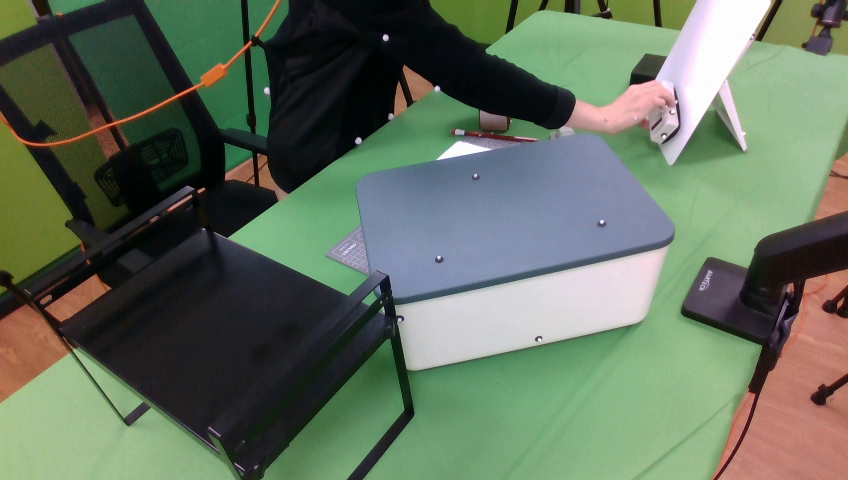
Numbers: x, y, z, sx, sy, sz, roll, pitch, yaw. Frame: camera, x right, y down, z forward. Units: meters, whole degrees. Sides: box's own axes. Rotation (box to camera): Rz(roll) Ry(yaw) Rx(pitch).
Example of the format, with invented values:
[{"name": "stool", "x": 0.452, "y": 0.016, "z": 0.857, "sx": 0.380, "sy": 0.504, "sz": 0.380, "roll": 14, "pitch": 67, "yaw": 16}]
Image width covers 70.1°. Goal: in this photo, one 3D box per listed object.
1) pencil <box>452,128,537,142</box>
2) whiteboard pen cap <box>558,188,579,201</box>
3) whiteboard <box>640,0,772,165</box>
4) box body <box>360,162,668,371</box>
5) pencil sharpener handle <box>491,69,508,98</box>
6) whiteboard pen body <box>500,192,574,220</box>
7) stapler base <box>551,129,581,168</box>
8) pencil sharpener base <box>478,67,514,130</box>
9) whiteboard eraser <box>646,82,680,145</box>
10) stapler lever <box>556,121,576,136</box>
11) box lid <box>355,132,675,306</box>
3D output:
[{"name": "pencil", "x": 0.146, "y": -0.207, "z": 1.205, "sx": 0.193, "sy": 0.012, "sz": 0.012, "roll": 11, "pitch": 44, "yaw": 20}, {"name": "whiteboard pen cap", "x": 0.245, "y": -0.076, "z": 1.028, "sx": 0.033, "sy": 0.018, "sz": 0.018, "roll": -19, "pitch": 42, "yaw": -15}, {"name": "whiteboard", "x": 0.543, "y": -0.298, "z": 1.076, "sx": 0.144, "sy": 0.305, "sz": 0.216, "roll": 12, "pitch": 40, "yaw": -7}, {"name": "box body", "x": 0.109, "y": 0.014, "z": 0.833, "sx": 0.365, "sy": 0.161, "sz": 0.252, "roll": -11, "pitch": 41, "yaw": -5}, {"name": "pencil sharpener handle", "x": 0.156, "y": -0.330, "z": 1.254, "sx": 0.036, "sy": 0.068, "sz": 0.030, "roll": 16, "pitch": 44, "yaw": 5}, {"name": "whiteboard pen body", "x": 0.191, "y": -0.059, "z": 1.011, "sx": 0.141, "sy": 0.017, "sz": 0.017, "roll": -18, "pitch": 42, "yaw": -15}, {"name": "stapler base", "x": 0.269, "y": -0.178, "z": 1.142, "sx": 0.041, "sy": 0.024, "sz": 0.130, "roll": 1, "pitch": 37, "yaw": 2}, {"name": "pencil sharpener base", "x": 0.148, "y": -0.287, "z": 1.225, "sx": 0.061, "sy": 0.107, "sz": 0.076, "roll": 5, "pitch": 42, "yaw": 15}, {"name": "whiteboard eraser", "x": 0.438, "y": -0.231, "z": 1.104, "sx": 0.042, "sy": 0.055, "sz": 0.112, "roll": 13, "pitch": 57, "yaw": -9}, {"name": "stapler lever", "x": 0.267, "y": -0.198, "z": 1.128, "sx": 0.027, "sy": 0.040, "sz": 0.117, "roll": 1, "pitch": 38, "yaw": 2}, {"name": "box lid", "x": 0.103, "y": -0.042, "z": 0.785, "sx": 0.372, "sy": 0.015, "sz": 0.261, "roll": -12, "pitch": 41, "yaw": -5}]
